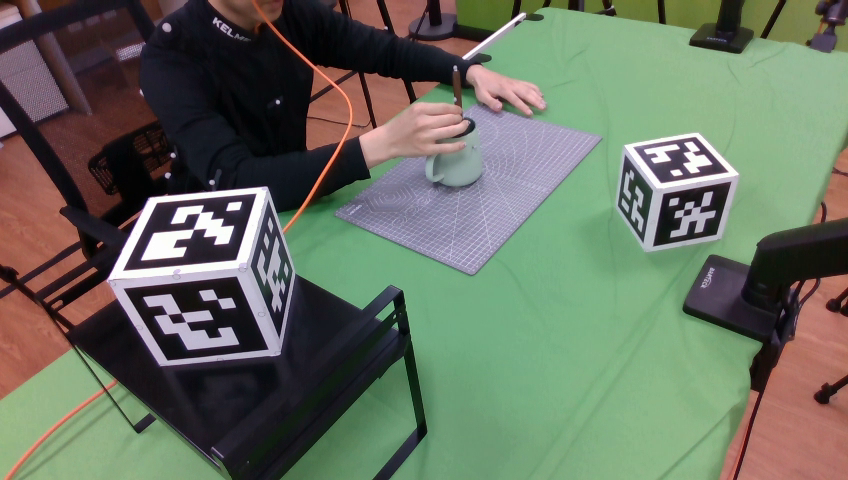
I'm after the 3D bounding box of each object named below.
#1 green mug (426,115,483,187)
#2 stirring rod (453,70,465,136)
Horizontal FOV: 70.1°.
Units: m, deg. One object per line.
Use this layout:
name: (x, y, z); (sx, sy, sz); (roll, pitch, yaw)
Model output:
green mug: (0.047, -0.148, 1.068); (0.092, 0.105, 0.125); (23, 50, 31)
stirring rod: (0.062, -0.208, 1.040); (0.014, 0.177, 0.005); (-27, 41, -24)
